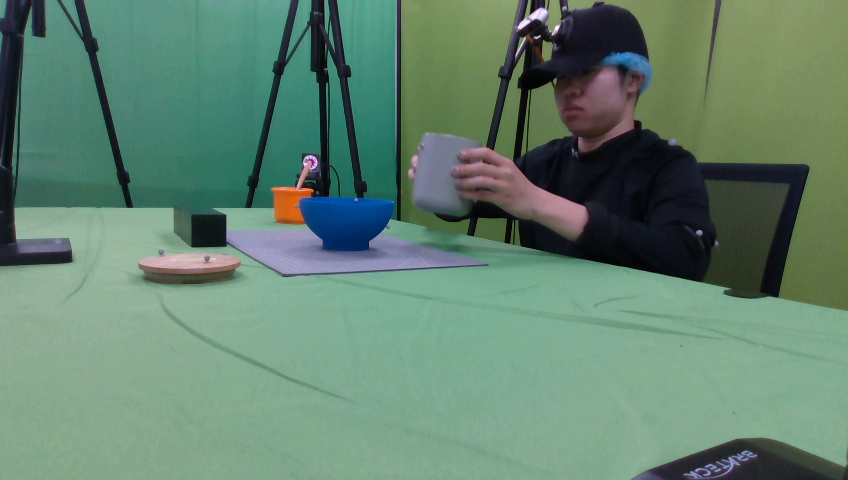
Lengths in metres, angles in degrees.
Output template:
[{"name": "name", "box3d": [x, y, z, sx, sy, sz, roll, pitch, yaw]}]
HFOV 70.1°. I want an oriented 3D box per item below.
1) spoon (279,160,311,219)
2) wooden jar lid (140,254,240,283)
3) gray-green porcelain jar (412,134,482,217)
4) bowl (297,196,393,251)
[{"name": "spoon", "box3d": [-0.285, -0.117, 1.371, 0.041, 0.193, 0.022, 3, -37, 11]}, {"name": "wooden jar lid", "box3d": [-0.269, 0.032, 0.698, 0.108, 0.020, 0.108, 2, 5, 0]}, {"name": "gray-green porcelain jar", "box3d": [0.037, -0.107, 1.022, 0.106, 0.126, 0.106, 9, 3, 0]}, {"name": "bowl", "box3d": [-0.125, -0.026, 0.958, 0.151, 0.077, 0.151, 2, 7, 0]}]
